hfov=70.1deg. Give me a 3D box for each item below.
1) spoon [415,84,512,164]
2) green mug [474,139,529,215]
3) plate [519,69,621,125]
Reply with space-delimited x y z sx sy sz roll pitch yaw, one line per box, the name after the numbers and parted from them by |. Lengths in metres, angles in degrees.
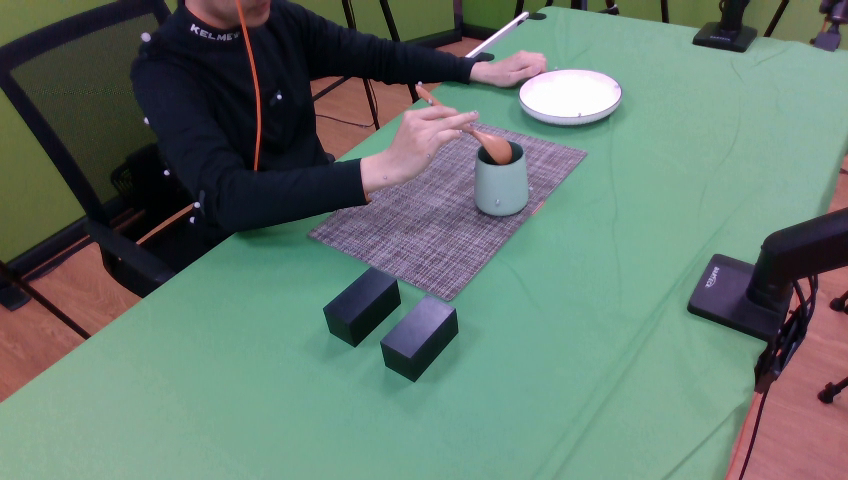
0.063 -0.180 0.939 0.195 0.021 0.041 31 74 -15 | spoon
0.126 -0.113 1.013 0.092 0.105 0.124 -8 41 0 | green mug
0.300 -0.293 1.253 0.209 0.038 0.208 -4 41 4 | plate
